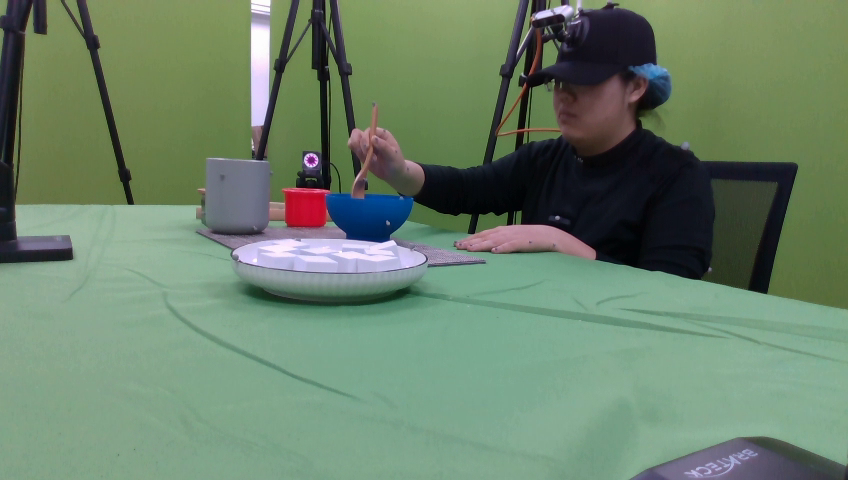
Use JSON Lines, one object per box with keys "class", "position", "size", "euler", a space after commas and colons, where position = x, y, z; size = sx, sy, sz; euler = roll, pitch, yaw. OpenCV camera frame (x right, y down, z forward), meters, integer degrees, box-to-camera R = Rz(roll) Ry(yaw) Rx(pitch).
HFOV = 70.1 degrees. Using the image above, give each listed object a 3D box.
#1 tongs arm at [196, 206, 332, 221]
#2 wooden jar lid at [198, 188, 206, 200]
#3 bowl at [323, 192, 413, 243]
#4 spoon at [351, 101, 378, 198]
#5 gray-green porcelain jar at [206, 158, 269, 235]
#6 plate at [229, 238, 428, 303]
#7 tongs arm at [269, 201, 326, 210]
{"class": "tongs arm", "position": [-0.294, -0.057, 1.330], "size": [0.389, 0.028, 0.028], "euler": [0, 5, -20]}
{"class": "wooden jar lid", "position": [-0.382, -0.088, 1.175], "size": [0.108, 0.020, 0.108], "euler": [3, 8, 0]}
{"class": "bowl", "position": [-0.094, -0.037, 1.015], "size": [0.151, 0.077, 0.151], "euler": [2, 7, 0]}
{"class": "spoon", "position": [-0.098, -0.146, 1.037], "size": [0.021, 0.193, 0.042], "euler": [9, -8, 27]}
{"class": "gray-green porcelain jar", "position": [-0.322, -0.076, 1.048], "size": [0.106, 0.126, 0.106], "euler": [3, 7, 0]}
{"class": "plate", "position": [-0.099, 0.032, 0.651], "size": [0.209, 0.038, 0.209], "euler": [3, 8, 0]}
{"class": "tongs arm", "position": [-0.308, -0.073, 1.410], "size": [0.386, 0.026, 0.050], "euler": [3, 8, -6]}
